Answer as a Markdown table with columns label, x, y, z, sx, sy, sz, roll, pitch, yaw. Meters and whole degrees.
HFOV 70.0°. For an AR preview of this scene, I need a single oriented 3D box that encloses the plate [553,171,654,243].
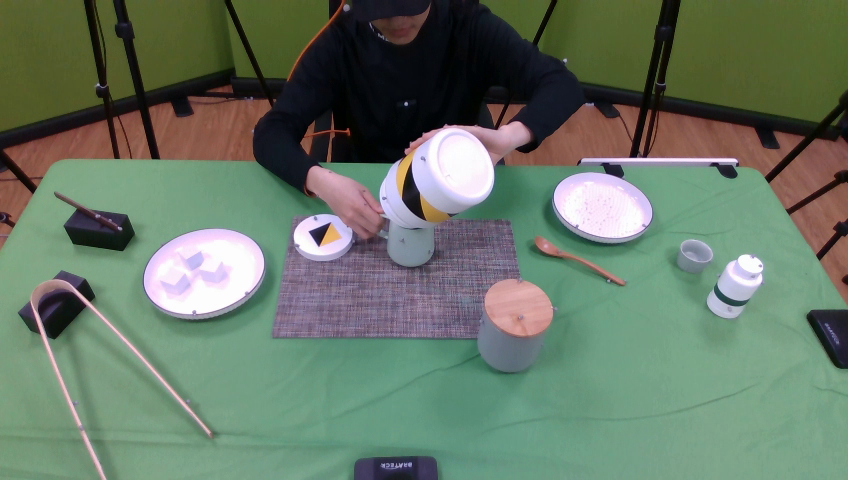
| label | x | y | z | sx | sy | sz | roll | pitch | yaw |
| --- | --- | --- | --- | --- | --- | --- | --- | --- | --- |
| plate | 0.374 | -0.066 | 1.274 | 0.209 | 0.038 | 0.208 | 2 | 46 | -2 |

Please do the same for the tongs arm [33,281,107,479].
| label | x | y | z | sx | sy | sz | roll | pitch | yaw |
| --- | --- | --- | --- | --- | --- | --- | --- | --- | --- |
| tongs arm | -0.517 | 0.214 | 0.909 | 0.051 | 0.026 | 0.383 | -29 | 63 | -27 |

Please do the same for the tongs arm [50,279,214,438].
| label | x | y | z | sx | sy | sz | roll | pitch | yaw |
| --- | --- | --- | --- | --- | --- | --- | --- | --- | --- |
| tongs arm | -0.459 | 0.178 | 0.949 | 0.386 | 0.028 | 0.028 | 37 | 60 | 17 |

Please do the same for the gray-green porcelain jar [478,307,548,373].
| label | x | y | z | sx | sy | sz | roll | pitch | yaw |
| --- | --- | --- | --- | --- | --- | --- | --- | --- | --- |
| gray-green porcelain jar | 0.144 | 0.148 | 0.989 | 0.106 | 0.127 | 0.105 | 2 | 50 | -2 |

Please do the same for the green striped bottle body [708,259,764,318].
| label | x | y | z | sx | sy | sz | roll | pitch | yaw |
| --- | --- | --- | --- | --- | --- | --- | --- | --- | --- |
| green striped bottle body | 0.563 | 0.081 | 1.089 | 0.063 | 0.120 | 0.063 | 2 | 46 | -2 |

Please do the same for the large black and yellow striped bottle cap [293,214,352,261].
| label | x | y | z | sx | sy | sz | roll | pitch | yaw |
| --- | --- | --- | --- | --- | --- | --- | --- | --- | --- |
| large black and yellow striped bottle cap | -0.198 | -0.007 | 1.187 | 0.115 | 0.019 | 0.114 | 3 | 47 | -3 |

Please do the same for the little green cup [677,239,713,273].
| label | x | y | z | sx | sy | sz | roll | pitch | yaw |
| --- | --- | --- | --- | --- | --- | --- | --- | --- | --- |
| little green cup | 0.530 | 0.033 | 1.189 | 0.061 | 0.039 | 0.061 | 2 | 47 | -2 |

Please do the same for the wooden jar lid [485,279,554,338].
| label | x | y | z | sx | sy | sz | roll | pitch | yaw |
| --- | --- | --- | --- | --- | --- | --- | --- | --- | --- |
| wooden jar lid | 0.147 | 0.108 | 0.940 | 0.108 | 0.021 | 0.107 | 4 | 48 | -5 |

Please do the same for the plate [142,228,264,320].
| label | x | y | z | sx | sy | sz | roll | pitch | yaw |
| --- | --- | --- | --- | --- | --- | --- | --- | --- | --- |
| plate | -0.394 | 0.064 | 1.095 | 0.208 | 0.039 | 0.206 | 2 | 46 | -2 |

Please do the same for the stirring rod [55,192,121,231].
| label | x | y | z | sx | sy | sz | roll | pitch | yaw |
| --- | --- | --- | --- | --- | --- | --- | --- | --- | --- |
| stirring rod | -0.632 | -0.055 | 1.138 | 0.175 | 0.014 | 0.006 | 24 | 50 | 19 |

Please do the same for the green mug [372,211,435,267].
| label | x | y | z | sx | sy | sz | roll | pitch | yaw |
| --- | --- | --- | --- | --- | --- | --- | --- | --- | --- |
| green mug | -0.040 | -0.015 | 1.145 | 0.125 | 0.105 | 0.092 | 16 | 48 | 12 |

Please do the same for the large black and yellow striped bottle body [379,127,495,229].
| label | x | y | z | sx | sy | sz | roll | pitch | yaw |
| --- | --- | --- | --- | --- | --- | --- | --- | --- | --- |
| large black and yellow striped bottle body | 0.015 | -0.096 | 1.020 | 0.131 | 0.184 | 0.130 | 12 | 68 | -31 |

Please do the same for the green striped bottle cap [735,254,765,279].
| label | x | y | z | sx | sy | sz | roll | pitch | yaw |
| --- | --- | --- | --- | --- | --- | --- | --- | --- | --- |
| green striped bottle cap | 0.566 | 0.046 | 1.051 | 0.044 | 0.020 | 0.044 | 0 | 45 | 0 |

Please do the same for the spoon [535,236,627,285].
| label | x | y | z | sx | sy | sz | roll | pitch | yaw |
| --- | --- | --- | --- | --- | --- | --- | --- | --- | --- |
| spoon | 0.304 | 0.040 | 1.178 | 0.193 | 0.022 | 0.041 | 25 | 35 | 19 |
